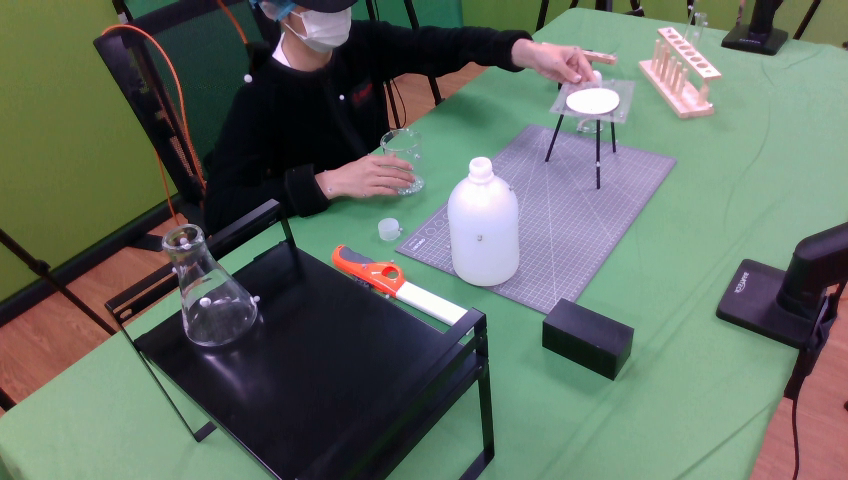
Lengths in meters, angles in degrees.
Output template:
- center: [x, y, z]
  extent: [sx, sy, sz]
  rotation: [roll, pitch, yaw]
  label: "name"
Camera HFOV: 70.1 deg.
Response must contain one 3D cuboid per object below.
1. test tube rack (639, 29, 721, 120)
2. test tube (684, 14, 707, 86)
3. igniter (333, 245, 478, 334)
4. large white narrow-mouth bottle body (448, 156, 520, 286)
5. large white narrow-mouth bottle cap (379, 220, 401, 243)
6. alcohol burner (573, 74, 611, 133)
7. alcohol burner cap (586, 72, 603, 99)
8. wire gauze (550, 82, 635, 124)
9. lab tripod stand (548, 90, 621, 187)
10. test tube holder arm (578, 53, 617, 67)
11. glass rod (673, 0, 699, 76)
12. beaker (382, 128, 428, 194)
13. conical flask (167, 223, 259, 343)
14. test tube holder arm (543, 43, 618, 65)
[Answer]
- center: [0.527, -0.351, 1.262]
  extent: [0.067, 0.085, 0.241]
  rotation: [-8, 40, 1]
  label: "test tube rack"
- center: [0.541, -0.379, 1.216]
  extent: [0.017, 0.151, 0.017]
  rotation: [-2, 44, 2]
  label: "test tube"
- center: [-0.039, 0.068, 0.905]
  extent: [0.274, 0.025, 0.057]
  rotation: [24, 60, 32]
  label: "igniter"
- center: [0.086, -0.032, 0.869]
  extent: [0.102, 0.195, 0.101]
  rotation: [-4, 40, 4]
  label: "large white narrow-mouth bottle body"
- center: [-0.057, -0.015, 1.012]
  extent: [0.038, 0.024, 0.037]
  rotation: [-4, 40, 4]
  label: "large white narrow-mouth bottle cap"
- center: [0.330, -0.270, 1.176]
  extent: [0.078, 0.119, 0.077]
  rotation: [-4, 43, 4]
  label: "alcohol burner"
- center: [0.325, -0.297, 1.154]
  extent: [0.034, 0.048, 0.033]
  rotation: [-8, 35, 6]
  label: "alcohol burner cap"
- center: [0.285, -0.236, 1.020]
  extent: [0.124, 0.011, 0.121]
  rotation: [10, 44, 22]
  label: "wire gauze"
- center: [0.289, -0.184, 1.062]
  extent: [0.148, 0.132, 0.147]
  rotation: [-6, 41, 6]
  label: "lab tripod stand"
- center: [0.376, -0.393, 1.314]
  extent: [0.087, 0.015, 0.010]
  rotation: [26, 51, 32]
  label: "test tube holder arm"
- center: [0.541, -0.427, 1.246]
  extent: [0.008, 0.200, 0.008]
  rotation: [-1, 48, 1]
  label: "glass rod"
- center: [-0.031, -0.142, 1.096]
  extent: [0.073, 0.101, 0.084]
  rotation: [14, 44, 23]
  label: "beaker"
- center: [-0.220, 0.041, 0.613]
  extent: [0.075, 0.122, 0.075]
  rotation: [-5, 40, 4]
  label: "conical flask"
- center: [0.345, -0.413, 1.340]
  extent: [0.177, 0.015, 0.013]
  rotation: [25, 50, 31]
  label: "test tube holder arm"
